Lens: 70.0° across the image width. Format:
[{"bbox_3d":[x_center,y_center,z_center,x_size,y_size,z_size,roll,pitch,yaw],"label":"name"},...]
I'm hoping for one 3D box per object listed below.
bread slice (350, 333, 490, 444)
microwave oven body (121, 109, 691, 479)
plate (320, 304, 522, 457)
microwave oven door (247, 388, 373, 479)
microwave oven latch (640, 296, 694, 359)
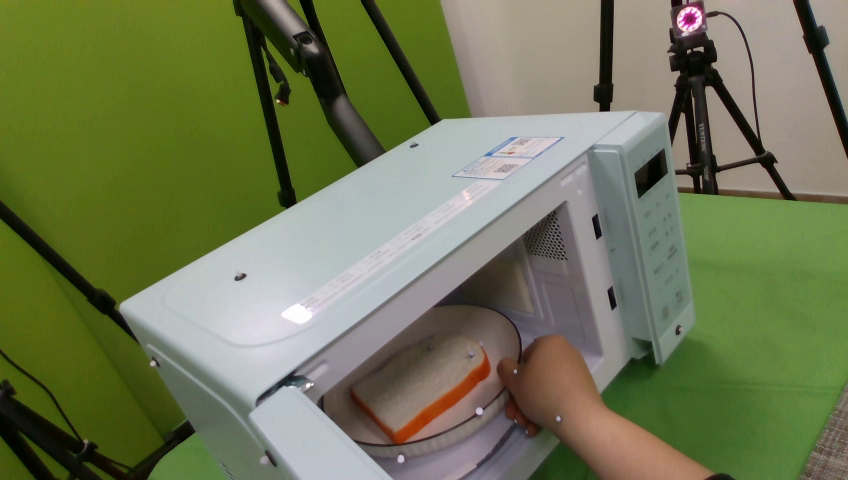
[{"bbox_3d":[-0.002,0.140,0.610,0.131,0.019,0.104,-32,28,-22],"label":"bread slice"},{"bbox_3d":[0.004,0.075,0.609,0.441,0.262,0.323,-36,30,-32],"label":"microwave oven body"},{"bbox_3d":[-0.001,0.138,0.606,0.209,0.038,0.207,-17,24,8],"label":"plate"},{"bbox_3d":[0.045,0.220,0.252,0.039,0.246,0.352,-32,27,-26],"label":"microwave oven door"},{"bbox_3d":[0.253,0.088,0.634,0.079,0.030,0.030,-36,29,-31],"label":"microwave oven latch"}]
